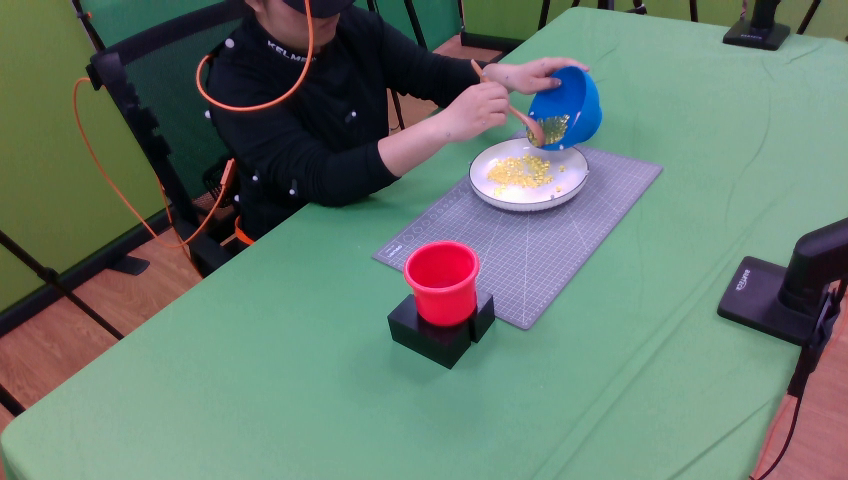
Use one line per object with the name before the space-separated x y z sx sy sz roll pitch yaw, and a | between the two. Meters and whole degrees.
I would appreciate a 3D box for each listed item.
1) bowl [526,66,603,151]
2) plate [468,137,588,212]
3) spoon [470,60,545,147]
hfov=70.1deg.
bowl | 0.257 -0.219 1.059 0.077 0.151 0.150 17 31 -28
plate | 0.182 -0.112 1.064 0.207 0.039 0.206 -5 40 5
spoon | 0.143 -0.231 1.025 0.021 0.194 0.041 -39 19 33
